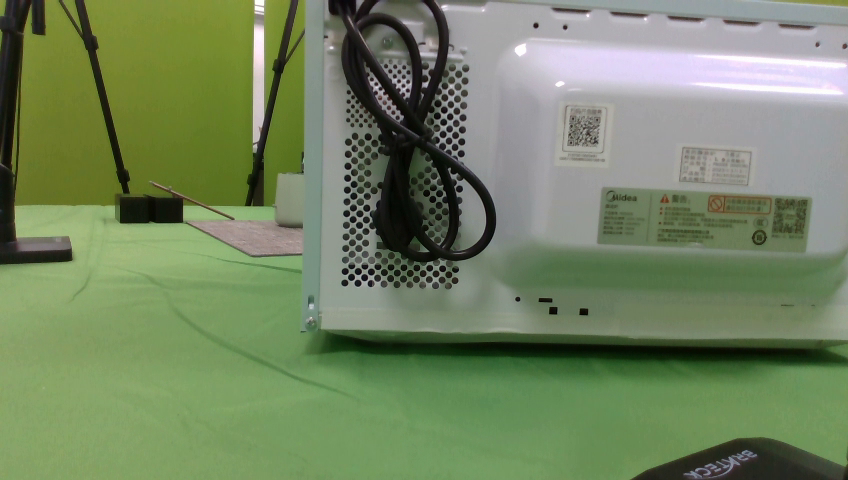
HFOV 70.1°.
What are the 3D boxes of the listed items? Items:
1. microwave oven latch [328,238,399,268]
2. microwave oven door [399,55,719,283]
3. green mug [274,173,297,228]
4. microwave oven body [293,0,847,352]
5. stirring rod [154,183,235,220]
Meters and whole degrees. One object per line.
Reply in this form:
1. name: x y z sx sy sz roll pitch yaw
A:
1. microwave oven latch: -0.069 0.015 0.694 0.079 0.029 0.030 3 7 -3
2. microwave oven door: 0.155 -0.078 0.697 0.356 0.243 0.039 2 8 -5
3. green mug: -0.242 -0.081 1.221 0.092 0.105 0.126 8 9 39
4. microwave oven body: 0.122 -0.055 0.550 0.442 0.260 0.325 3 7 -5
5. stirring rod: -0.472 -0.079 1.252 0.177 0.006 0.014 27 4 -35
